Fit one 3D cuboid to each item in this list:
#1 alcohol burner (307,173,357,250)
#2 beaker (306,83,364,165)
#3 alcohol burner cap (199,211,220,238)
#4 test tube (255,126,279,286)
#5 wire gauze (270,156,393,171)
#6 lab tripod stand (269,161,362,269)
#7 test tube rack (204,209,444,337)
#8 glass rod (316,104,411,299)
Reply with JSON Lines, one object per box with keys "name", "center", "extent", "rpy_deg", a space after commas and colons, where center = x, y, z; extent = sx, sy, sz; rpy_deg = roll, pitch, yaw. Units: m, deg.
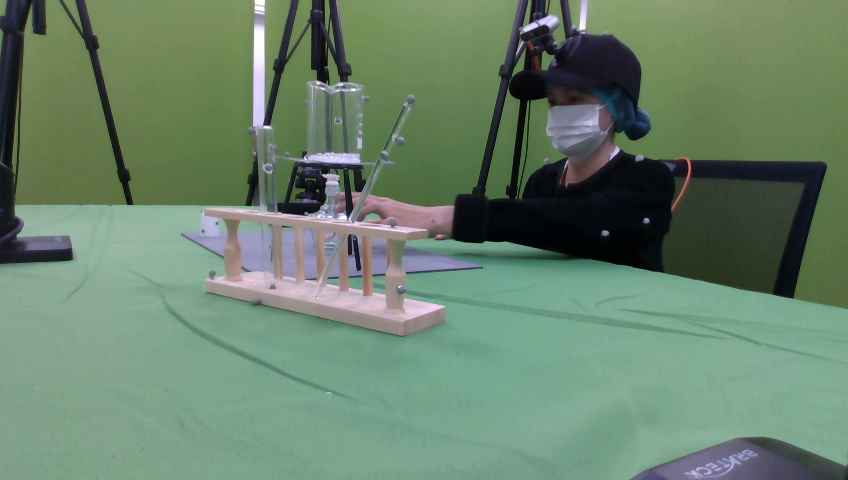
{"name": "alcohol burner", "center": [-0.144, -0.045, 0.940], "extent": [0.078, 0.119, 0.078], "rpy_deg": [1, 8, 0]}
{"name": "beaker", "center": [-0.115, -0.147, 0.775], "extent": [0.074, 0.100, 0.084], "rpy_deg": [2, 8, -2]}
{"name": "alcohol burner cap", "center": [-0.355, -0.027, 1.002], "extent": [0.034, 0.048, 0.034], "rpy_deg": [2, 7, 0]}
{"name": "test tube", "center": [-0.147, -0.031, 0.566], "extent": [0.017, 0.150, 0.017], "rpy_deg": [-1, 8, 0]}
{"name": "wire gauze", "center": [-0.122, -0.100, 0.786], "extent": [0.122, 0.011, 0.124], "rpy_deg": [-5, 14, -38]}
{"name": "lab tripod stand", "center": [-0.125, -0.036, 0.794], "extent": [0.148, 0.131, 0.148], "rpy_deg": [5, 7, 0]}
{"name": "test tube rack", "center": [-0.100, 0.021, 0.565], "extent": [0.241, 0.085, 0.067], "rpy_deg": [7, 9, 32]}
{"name": "glass rod", "center": [-0.054, -0.026, 0.516], "extent": [0.008, 0.199, 0.008], "rpy_deg": [23, 24, -11]}
